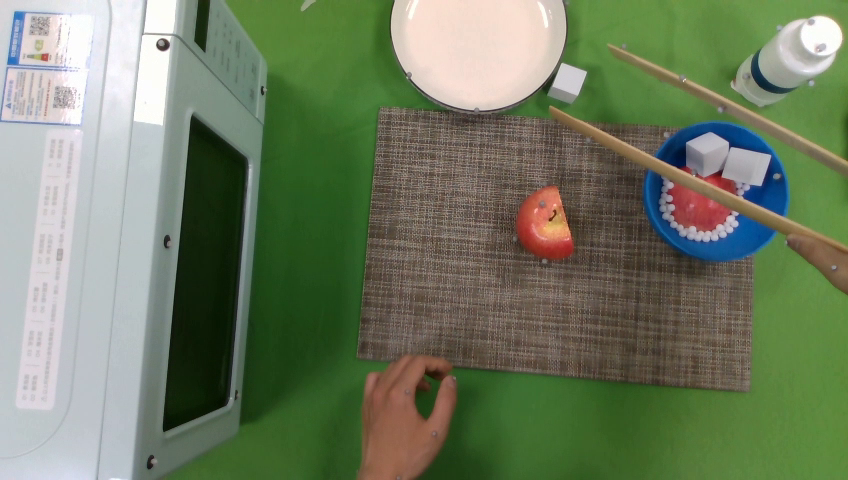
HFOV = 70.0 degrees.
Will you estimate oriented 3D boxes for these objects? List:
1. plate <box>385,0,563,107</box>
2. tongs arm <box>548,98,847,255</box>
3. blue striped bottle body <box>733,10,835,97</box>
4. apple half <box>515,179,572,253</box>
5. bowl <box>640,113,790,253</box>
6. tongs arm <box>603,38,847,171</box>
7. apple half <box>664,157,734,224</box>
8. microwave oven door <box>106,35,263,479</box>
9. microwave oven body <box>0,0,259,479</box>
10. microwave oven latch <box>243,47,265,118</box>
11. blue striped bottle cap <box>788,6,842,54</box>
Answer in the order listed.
[{"bbox_3d":[0.058,-0.255,0.720,0.208,0.039,0.207,0,85,1],"label":"plate"},{"bbox_3d":[0.257,-0.072,0.583,0.028,0.028,0.383,-47,46,-2],"label":"tongs arm"},{"bbox_3d":[0.399,-0.207,0.666,0.063,0.121,0.063,0,84,1],"label":"blue striped bottle body"},{"bbox_3d":[0.128,-0.022,0.675,0.053,0.075,0.080,-15,88,4],"label":"apple half"},{"bbox_3d":[0.307,-0.056,0.672,0.151,0.077,0.151,0,84,2],"label":"bowl"},{"bbox_3d":[0.293,-0.112,0.578,0.051,0.027,0.380,-46,47,4],"label":"tongs arm"},{"bbox_3d":[0.308,-0.056,0.667,0.081,0.033,0.081,0,84,1],"label":"apple half"},{"bbox_3d":[-0.216,0.024,0.580,0.039,0.244,0.355,2,85,2],"label":"microwave oven door"},{"bbox_3d":[-0.361,-0.024,0.592,0.326,0.260,0.440,2,85,1],"label":"microwave oven body"},{"bbox_3d":[-0.201,-0.182,0.700,0.030,0.029,0.079,3,85,1],"label":"microwave oven latch"},{"bbox_3d":[0.398,-0.213,0.616,0.044,0.020,0.044,0,86,2],"label":"blue striped bottle cap"}]
